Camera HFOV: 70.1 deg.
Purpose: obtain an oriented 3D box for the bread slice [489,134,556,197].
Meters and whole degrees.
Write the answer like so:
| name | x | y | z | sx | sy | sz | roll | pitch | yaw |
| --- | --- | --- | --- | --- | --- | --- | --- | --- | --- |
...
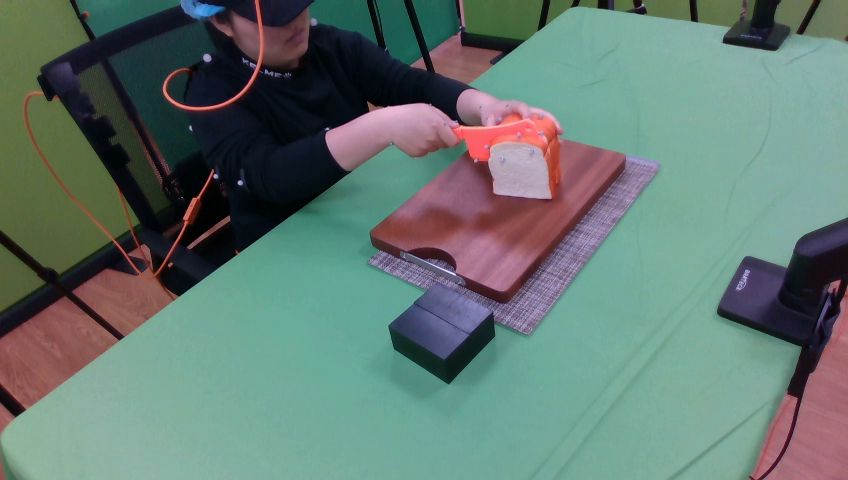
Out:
| name | x | y | z | sx | sy | sz | roll | pitch | yaw |
| --- | --- | --- | --- | --- | --- | --- | --- | --- | --- |
| bread slice | 0.154 | -0.117 | 0.970 | 0.104 | 0.132 | 0.019 | 5 | 54 | 21 |

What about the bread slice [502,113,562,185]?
| name | x | y | z | sx | sy | sz | roll | pitch | yaw |
| --- | --- | --- | --- | --- | --- | --- | --- | --- | --- |
| bread slice | 0.177 | -0.149 | 1.004 | 0.106 | 0.135 | 0.018 | 13 | 48 | 20 |

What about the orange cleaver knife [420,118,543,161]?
| name | x | y | z | sx | sy | sz | roll | pitch | yaw |
| --- | --- | --- | --- | --- | --- | --- | --- | --- | --- |
| orange cleaver knife | 0.094 | -0.160 | 0.971 | 0.210 | 0.077 | 0.012 | 5 | 43 | 25 |
